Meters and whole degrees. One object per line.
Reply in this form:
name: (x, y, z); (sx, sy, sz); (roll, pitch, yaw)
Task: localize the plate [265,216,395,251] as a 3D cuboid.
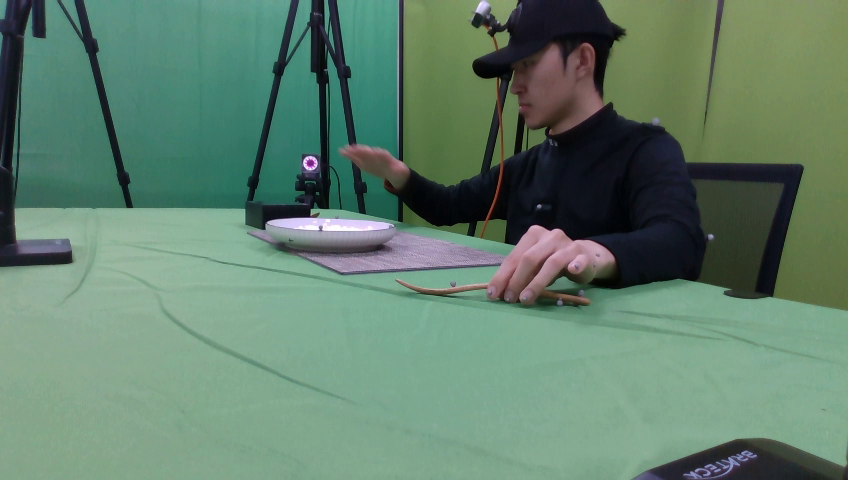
plate: (-0.150, -0.011, 0.978); (0.209, 0.038, 0.209); (3, 7, 0)

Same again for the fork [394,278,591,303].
fork: (0.070, 0.053, 0.638); (0.207, 0.018, 0.028); (2, -9, 7)

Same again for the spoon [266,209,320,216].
spoon: (-0.315, -0.064, 1.434); (0.193, 0.021, 0.042); (8, 25, 39)
